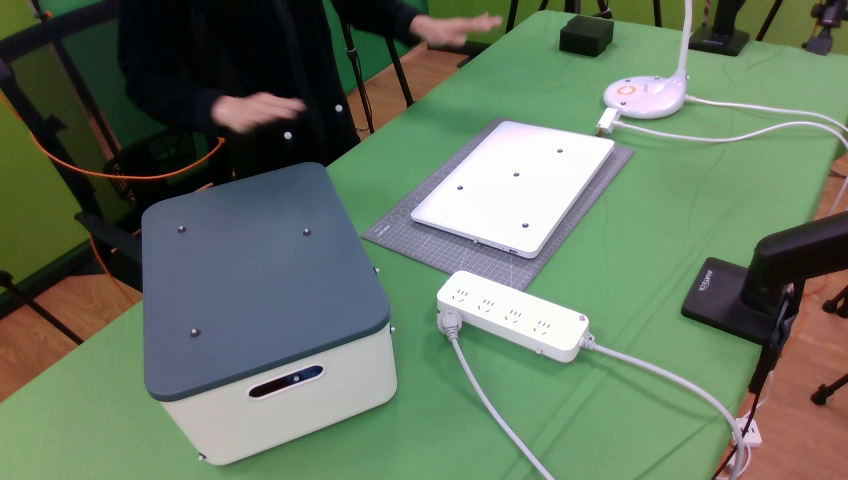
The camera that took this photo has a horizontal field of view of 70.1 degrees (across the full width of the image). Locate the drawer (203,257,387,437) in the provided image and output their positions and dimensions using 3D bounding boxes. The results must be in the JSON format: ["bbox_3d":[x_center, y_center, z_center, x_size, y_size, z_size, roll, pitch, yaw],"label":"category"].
[{"bbox_3d":[-0.171,0.127,0.779,0.195,0.073,0.210,-16,35,-15],"label":"drawer"}]

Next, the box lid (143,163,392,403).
[{"bbox_3d":[-0.212,0.025,0.753,0.264,0.015,0.368,-18,41,-13],"label":"box lid"}]

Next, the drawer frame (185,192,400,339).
[{"bbox_3d":[-0.174,0.079,0.769,0.201,0.214,0.082,-31,18,25],"label":"drawer frame"}]

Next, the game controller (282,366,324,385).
[{"bbox_3d":[-0.159,0.114,0.735,0.154,0.052,0.097,29,51,34],"label":"game controller"}]

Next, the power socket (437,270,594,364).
[{"bbox_3d":[0.118,0.102,0.830,0.225,0.033,0.072,20,48,28],"label":"power socket"}]

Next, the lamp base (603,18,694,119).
[{"bbox_3d":[0.460,-0.355,1.204,0.179,0.181,0.160,2,41,7],"label":"lamp base"}]

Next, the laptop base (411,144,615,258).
[{"bbox_3d":[0.167,-0.102,1.074,0.234,0.023,0.355,17,45,30],"label":"laptop base"}]

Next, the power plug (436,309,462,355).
[{"bbox_3d":[0.032,0.126,0.809,0.035,0.053,0.072,3,58,7],"label":"power plug"}]

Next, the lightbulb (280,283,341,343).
[{"bbox_3d":[-0.152,0.102,0.826,0.060,0.060,0.107,-35,61,-29],"label":"lightbulb"}]

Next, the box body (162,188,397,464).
[{"bbox_3d":[-0.205,0.080,0.802,0.255,0.161,0.361,-18,41,-13],"label":"box body"}]

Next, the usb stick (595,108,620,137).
[{"bbox_3d":[0.355,-0.226,1.175,0.027,0.022,0.059,29,85,41],"label":"usb stick"}]

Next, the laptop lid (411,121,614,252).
[{"bbox_3d":[0.164,-0.112,1.068,0.240,0.013,0.357,19,46,30],"label":"laptop lid"}]
